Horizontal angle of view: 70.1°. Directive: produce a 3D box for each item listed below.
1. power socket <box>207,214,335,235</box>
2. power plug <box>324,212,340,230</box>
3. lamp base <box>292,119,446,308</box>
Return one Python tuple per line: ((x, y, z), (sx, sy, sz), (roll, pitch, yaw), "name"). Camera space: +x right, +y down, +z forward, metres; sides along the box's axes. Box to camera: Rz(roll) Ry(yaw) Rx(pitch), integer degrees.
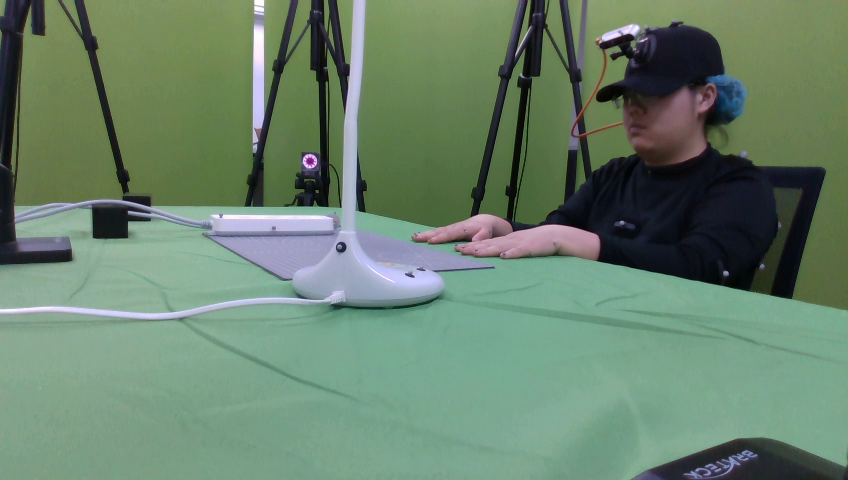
((-0.271, -0.029, 1.086), (0.228, 0.032, 0.072), (-1, 7, -28), "power socket")
((-0.200, -0.027, 1.194), (0.072, 0.035, 0.052), (-35, 13, -11), "power plug")
((-0.056, -0.030, 0.616), (0.160, 0.180, 0.179), (4, 10, 8), "lamp base")
